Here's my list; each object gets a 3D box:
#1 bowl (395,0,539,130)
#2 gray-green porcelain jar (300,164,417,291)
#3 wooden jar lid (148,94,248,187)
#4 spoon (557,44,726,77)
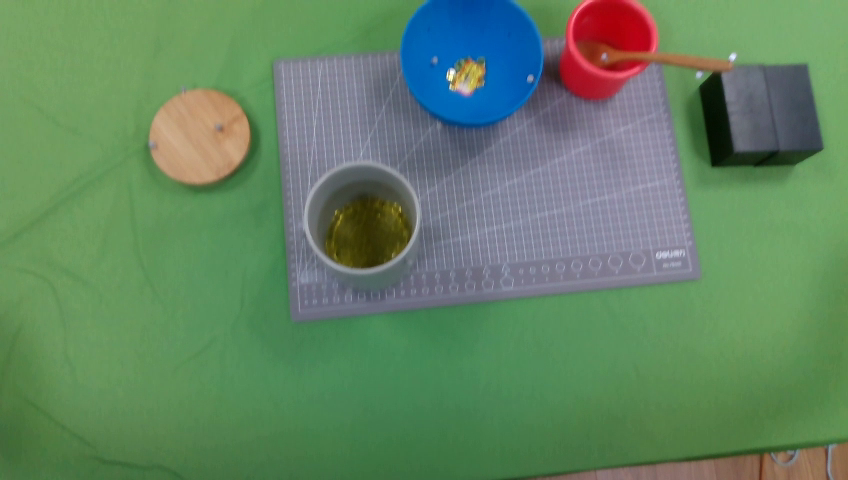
[{"bbox_3d":[0.044,-0.181,0.667,0.151,0.077,0.150,0,78,-2],"label":"bowl"},{"bbox_3d":[-0.060,-0.006,0.603,0.106,0.127,0.105,0,78,-2],"label":"gray-green porcelain jar"},{"bbox_3d":[-0.249,-0.109,0.674,0.108,0.021,0.108,0,78,-1],"label":"wooden jar lid"},{"bbox_3d":[0.222,-0.187,0.641,0.192,0.022,0.041,23,79,48],"label":"spoon"}]
